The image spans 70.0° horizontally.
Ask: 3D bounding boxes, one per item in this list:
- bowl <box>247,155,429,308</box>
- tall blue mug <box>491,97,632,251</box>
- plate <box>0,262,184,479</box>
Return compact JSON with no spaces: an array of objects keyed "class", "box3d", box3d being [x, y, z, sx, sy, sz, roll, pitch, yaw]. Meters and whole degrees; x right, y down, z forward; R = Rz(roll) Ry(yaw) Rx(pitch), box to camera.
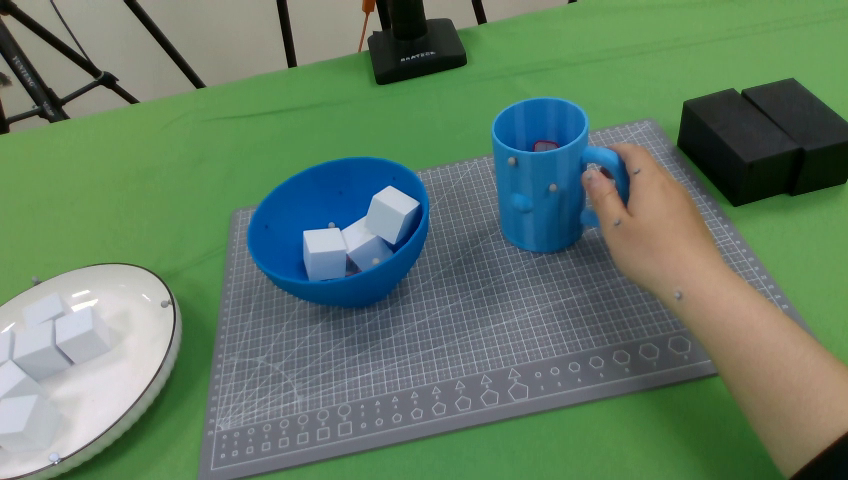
[{"class":"bowl","box3d":[-0.064,0.005,0.515,0.151,0.077,0.150,-6,45,7]},{"class":"tall blue mug","box3d":[0.115,-0.054,0.512,0.107,0.109,0.077,-4,45,9]},{"class":"plate","box3d":[-0.298,0.106,0.500,0.209,0.038,0.207,-6,45,6]}]
